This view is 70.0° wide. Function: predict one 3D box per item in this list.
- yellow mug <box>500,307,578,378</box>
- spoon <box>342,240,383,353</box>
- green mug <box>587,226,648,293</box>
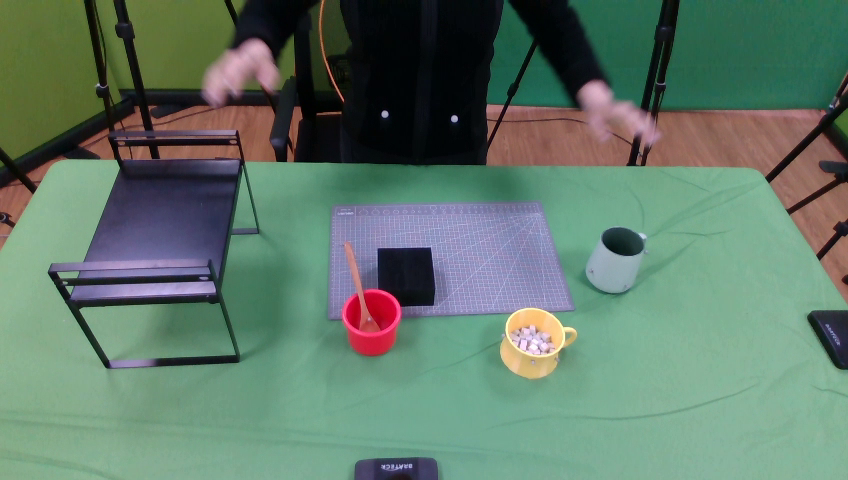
[{"bbox_3d":[0.197,0.169,1.018,0.131,0.064,0.099,-7,47,-12],"label":"yellow mug"},{"bbox_3d":[-0.106,0.094,1.014,0.041,0.021,0.193,-14,93,-12],"label":"spoon"},{"bbox_3d":[0.371,0.030,1.136,0.125,0.105,0.092,-27,53,-27],"label":"green mug"}]
